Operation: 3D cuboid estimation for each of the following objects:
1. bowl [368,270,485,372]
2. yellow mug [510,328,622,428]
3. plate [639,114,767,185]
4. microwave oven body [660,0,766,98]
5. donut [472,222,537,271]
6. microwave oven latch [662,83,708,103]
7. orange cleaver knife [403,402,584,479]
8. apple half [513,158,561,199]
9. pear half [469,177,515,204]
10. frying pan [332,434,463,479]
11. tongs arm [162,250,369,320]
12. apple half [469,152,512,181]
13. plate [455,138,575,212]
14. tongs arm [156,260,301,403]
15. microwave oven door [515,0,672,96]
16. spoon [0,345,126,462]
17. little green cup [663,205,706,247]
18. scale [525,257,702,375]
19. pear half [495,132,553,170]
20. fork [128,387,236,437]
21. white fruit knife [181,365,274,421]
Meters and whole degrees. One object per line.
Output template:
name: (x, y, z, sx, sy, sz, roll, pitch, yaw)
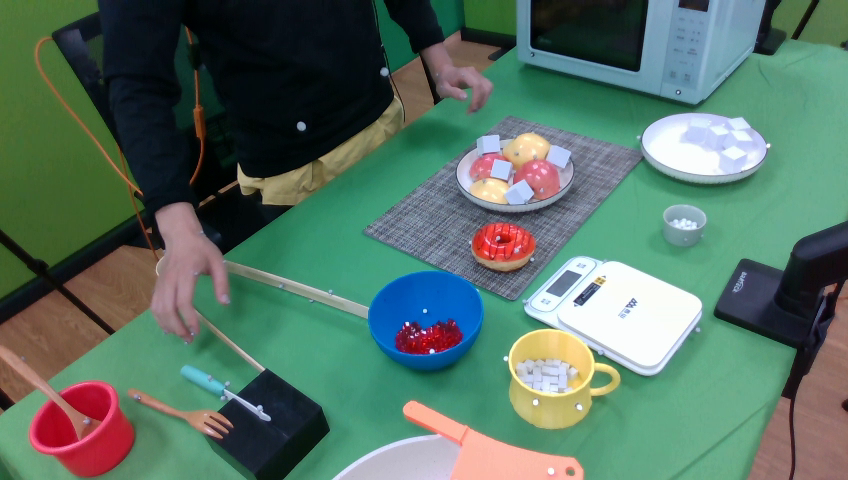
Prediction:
bowl: (0.007, 0.118, 0.791, 0.151, 0.077, 0.150, -5, 40, 4)
yellow mug: (0.168, 0.164, 0.722, 0.130, 0.064, 0.099, 0, 40, 8)
plate: (0.489, -0.157, 1.074, 0.207, 0.039, 0.206, -4, 40, 4)
microwave oven body: (0.472, -0.513, 1.317, 0.438, 0.261, 0.327, 26, 51, 34)
donut: (0.123, 0.008, 0.923, 0.099, 0.048, 0.098, -3, 38, 3)
microwave oven latch: (0.518, -0.296, 1.204, 0.078, 0.029, 0.030, 28, 52, 35)
orange cleaver knife: (0.062, 0.222, 0.609, 0.210, 0.012, 0.077, 15, 48, 25)
apple half: (0.193, -0.111, 1.031, 0.080, 0.053, 0.075, 11, 41, 26)
pear half: (0.115, -0.090, 1.036, 0.087, 0.031, 0.071, 29, 39, 32)
frying pan: (-0.089, 0.306, 0.564, 0.487, 0.103, 0.306, 10, 41, 7)
tongs arm: (-0.247, 0.073, 0.916, 0.382, 0.026, 0.051, 16, 50, 26)
apple half: (0.120, -0.138, 1.087, 0.081, 0.033, 0.081, -1, 46, 2)
plate: (0.159, -0.111, 1.063, 0.209, 0.038, 0.208, -4, 40, 4)
tongs arm: (-0.294, 0.123, 0.870, 0.384, 0.028, 0.028, 29, 60, 35)
microwave oven door: (0.343, -0.454, 1.259, 0.353, 0.245, 0.039, 26, 51, 33)
spoon: (-0.434, 0.192, 0.720, 0.194, 0.021, 0.042, 47, 53, -7)
little green cup: (0.396, -0.020, 0.926, 0.061, 0.039, 0.061, -4, 40, 4)
scale: (0.254, 0.091, 0.821, 0.199, 0.032, 0.149, 28, 51, 35)
pear half: (0.174, -0.167, 1.094, 0.109, 0.056, 0.076, 15, 53, 30)
fork: (-0.305, 0.207, 0.744, 0.206, 0.019, 0.028, 3, 40, 36)
white fruit knife: (-0.246, 0.187, 0.747, 0.205, 0.027, 0.016, 9, 41, 41)
